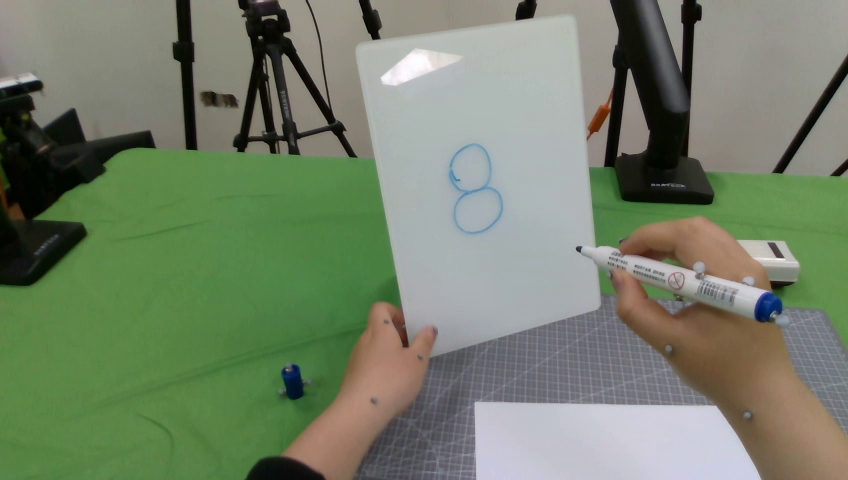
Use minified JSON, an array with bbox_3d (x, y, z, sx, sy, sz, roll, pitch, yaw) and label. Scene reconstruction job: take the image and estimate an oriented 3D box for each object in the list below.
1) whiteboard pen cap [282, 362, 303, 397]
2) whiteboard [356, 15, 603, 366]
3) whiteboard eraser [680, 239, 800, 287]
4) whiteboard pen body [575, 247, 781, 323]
[{"bbox_3d":[-0.123,0.131,0.565,0.018,0.033,0.018,0,35,1],"label":"whiteboard pen cap"},{"bbox_3d":[0.048,-0.059,0.646,0.218,0.307,0.143,-13,15,-14],"label":"whiteboard"},{"bbox_3d":[0.353,0.026,0.683,0.112,0.042,0.055,2,37,5],"label":"whiteboard eraser"},{"bbox_3d":[0.135,0.020,0.348,0.017,0.017,0.139,-20,20,-23],"label":"whiteboard pen body"}]
